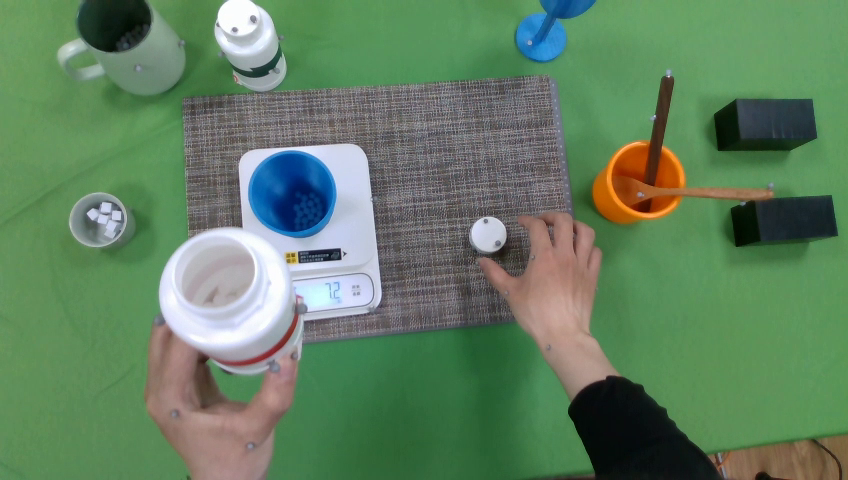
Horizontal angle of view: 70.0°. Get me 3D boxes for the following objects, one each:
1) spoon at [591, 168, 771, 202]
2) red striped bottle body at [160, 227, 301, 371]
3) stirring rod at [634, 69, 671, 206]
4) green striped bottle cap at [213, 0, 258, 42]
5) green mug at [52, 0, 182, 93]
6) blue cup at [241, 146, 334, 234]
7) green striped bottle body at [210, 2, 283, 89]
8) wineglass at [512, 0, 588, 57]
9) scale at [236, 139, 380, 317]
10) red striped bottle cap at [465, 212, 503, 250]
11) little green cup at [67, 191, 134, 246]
[{"bbox_3d":[0.282,-0.060,0.684,0.022,0.192,0.041,10,88,-47],"label":"spoon"},{"bbox_3d":[-0.102,0.034,0.331,0.063,0.120,0.062,2,71,-7],"label":"red striped bottle body"},{"bbox_3d":[0.258,-0.110,0.689,0.014,0.178,0.005,2,41,9],"label":"stirring rod"},{"bbox_3d":[-0.195,-0.230,0.627,0.044,0.020,0.044,1,81,-5],"label":"green striped bottle cap"},{"bbox_3d":[-0.344,-0.215,0.673,0.125,0.105,0.092,-28,85,-8],"label":"green mug"},{"bbox_3d":[-0.136,-0.044,0.635,0.093,0.100,0.092,1,83,-7],"label":"blue cup"},{"bbox_3d":[-0.198,-0.222,0.678,0.063,0.119,0.063,1,81,-4],"label":"green striped bottle body"},{"bbox_3d":[0.149,-0.277,0.689,0.074,0.172,0.073,1,82,-4],"label":"wineglass"},{"bbox_3d":[-0.134,-0.014,0.697,0.149,0.031,0.200,-6,83,-5],"label":"scale"},{"bbox_3d":[0.072,-0.011,0.721,0.045,0.018,0.044,2,79,-11],"label":"red striped bottle cap"},{"bbox_3d":[-0.358,-0.022,0.678,0.061,0.038,0.061,1,81,-6],"label":"little green cup"}]
